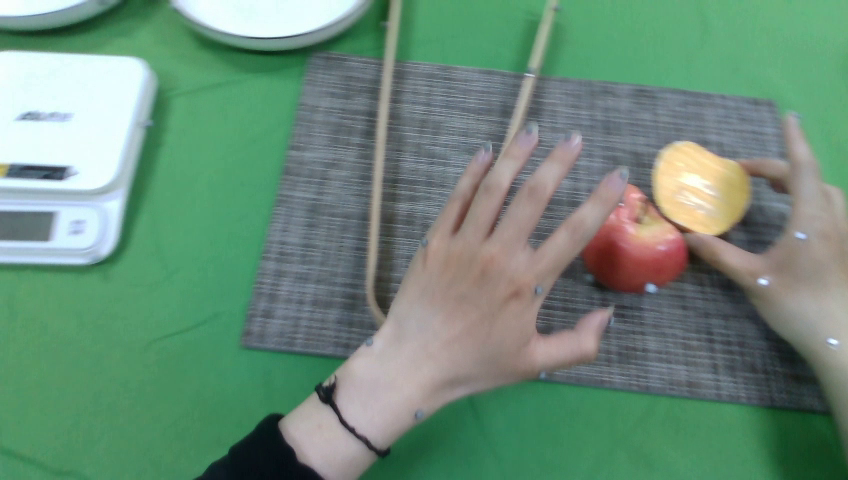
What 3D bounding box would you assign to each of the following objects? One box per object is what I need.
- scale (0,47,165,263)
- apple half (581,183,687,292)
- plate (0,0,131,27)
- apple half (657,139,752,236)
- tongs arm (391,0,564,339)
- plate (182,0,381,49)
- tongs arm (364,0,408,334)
[{"bbox_3d":[-0.308,-0.076,0.502,0.149,0.032,0.199,2,62,-2],"label":"scale"},{"bbox_3d":[0.148,0.005,0.456,0.053,0.075,0.080,-29,70,-13],"label":"apple half"},{"bbox_3d":[-0.364,-0.285,0.610,0.208,0.039,0.206,1,61,-2],"label":"plate"},{"bbox_3d":[0.222,-0.038,0.498,0.081,0.033,0.081,0,77,-1],"label":"apple half"},{"bbox_3d":[0.058,-0.087,0.526,0.050,0.027,0.382,17,62,6],"label":"tongs arm"},{"bbox_3d":[-0.139,-0.264,0.612,0.209,0.038,0.207,2,61,-3],"label":"plate"},{"bbox_3d":[-0.024,-0.104,0.533,0.028,0.028,0.384,6,61,-4],"label":"tongs arm"}]
